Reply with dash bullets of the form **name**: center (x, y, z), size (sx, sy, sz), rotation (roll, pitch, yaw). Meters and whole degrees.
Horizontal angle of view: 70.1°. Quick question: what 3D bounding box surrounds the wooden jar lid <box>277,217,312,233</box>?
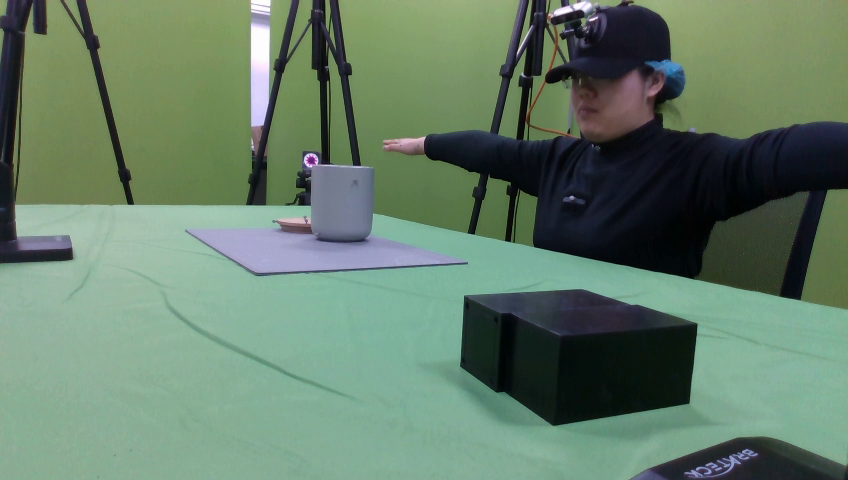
- **wooden jar lid**: center (-0.221, -0.028, 1.138), size (0.108, 0.020, 0.108), rotation (2, 8, 0)

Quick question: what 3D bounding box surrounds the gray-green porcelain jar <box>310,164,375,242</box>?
- **gray-green porcelain jar**: center (-0.139, -0.064, 1.025), size (0.106, 0.126, 0.106), rotation (3, 8, 0)
